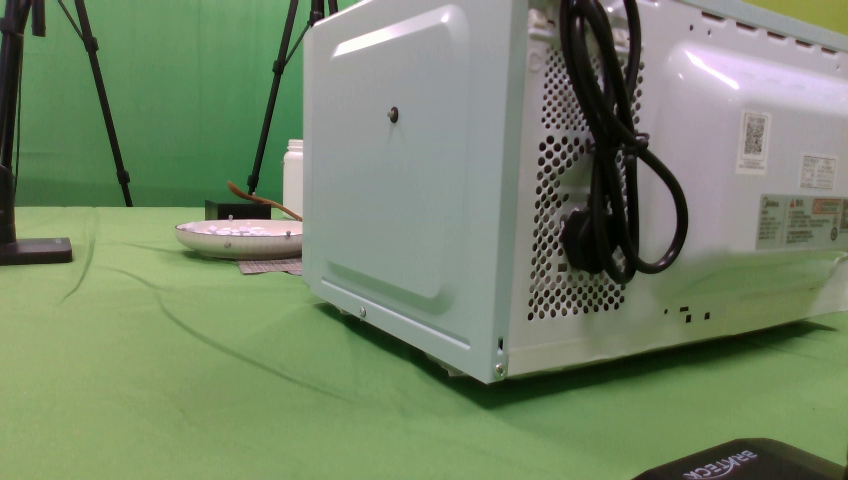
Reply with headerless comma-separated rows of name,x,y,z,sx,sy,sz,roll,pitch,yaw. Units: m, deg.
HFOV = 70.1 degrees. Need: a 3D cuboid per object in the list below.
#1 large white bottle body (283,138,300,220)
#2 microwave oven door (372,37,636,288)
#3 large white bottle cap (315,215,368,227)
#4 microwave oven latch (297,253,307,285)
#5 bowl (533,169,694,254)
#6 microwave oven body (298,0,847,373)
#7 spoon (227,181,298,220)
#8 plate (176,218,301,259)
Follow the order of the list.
large white bottle body,-0.265,-0.143,1.423,0.131,0.184,0.130,2,7,0
microwave oven door,0.110,-0.080,0.686,0.358,0.243,0.039,-2,9,-33
large white bottle cap,-0.178,-0.041,1.308,0.115,0.018,0.115,2,6,0
microwave oven latch,-0.082,0.027,0.582,0.079,0.029,0.030,-1,7,-33
bowl,0.181,-0.030,0.596,0.151,0.077,0.151,1,7,0
microwave oven body,0.151,-0.055,0.542,0.444,0.260,0.324,-1,7,-33
spoon,-0.315,-0.074,1.235,0.195,0.021,0.041,24,-9,-37
plate,-0.248,-0.003,0.877,0.209,0.038,0.209,1,8,0
